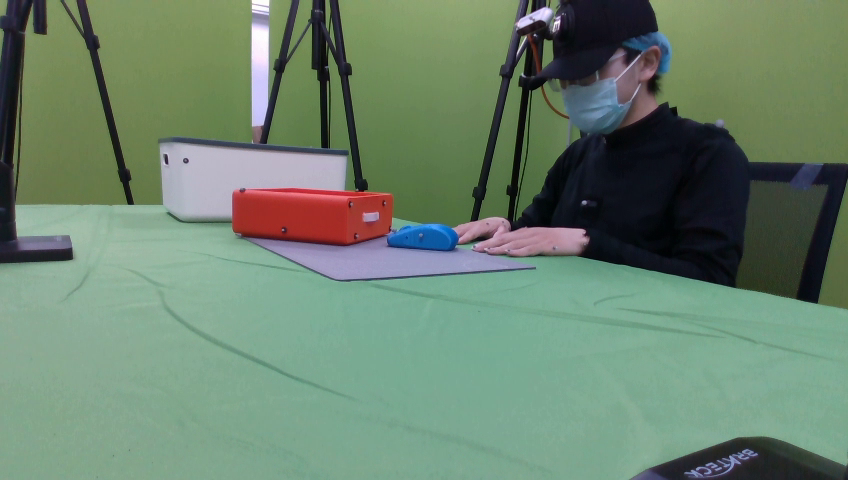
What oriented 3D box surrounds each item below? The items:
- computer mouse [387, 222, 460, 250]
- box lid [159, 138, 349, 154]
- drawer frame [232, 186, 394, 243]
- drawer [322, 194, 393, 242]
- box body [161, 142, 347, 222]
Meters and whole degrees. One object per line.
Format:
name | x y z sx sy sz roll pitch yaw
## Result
computer mouse | 0.000 -0.008 0.978 0.117 0.041 0.063 0 8 14
box lid | -0.376 -0.206 1.344 0.373 0.015 0.262 -1 8 -30
drawer frame | -0.186 -0.049 1.060 0.213 0.082 0.202 4 8 17
drawer | -0.184 -0.048 1.060 0.211 0.073 0.195 4 8 18
box body | -0.380 -0.132 1.352 0.366 0.160 0.253 -2 8 -30
